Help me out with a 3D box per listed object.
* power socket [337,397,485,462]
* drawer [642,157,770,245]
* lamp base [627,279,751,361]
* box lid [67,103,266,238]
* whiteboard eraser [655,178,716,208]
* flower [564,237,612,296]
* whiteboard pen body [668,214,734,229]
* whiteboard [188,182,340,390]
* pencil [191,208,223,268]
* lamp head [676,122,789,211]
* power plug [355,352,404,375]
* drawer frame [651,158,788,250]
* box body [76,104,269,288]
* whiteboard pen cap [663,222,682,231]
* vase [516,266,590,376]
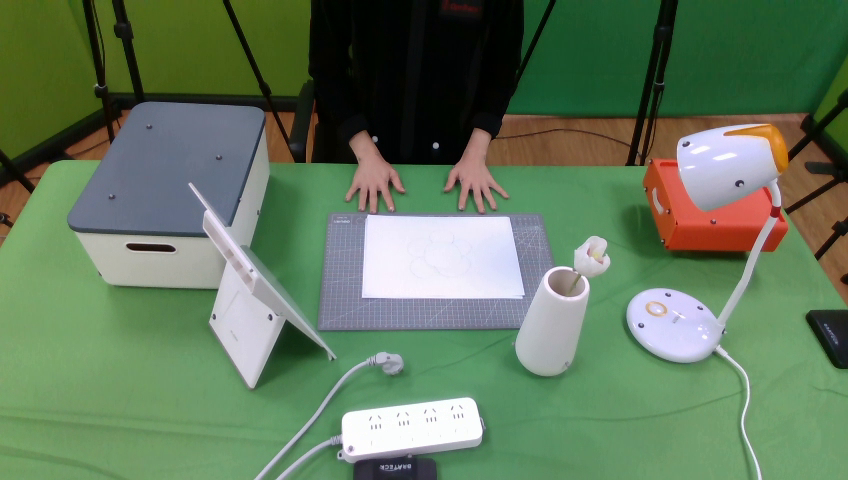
[{"bbox_3d":[-0.018,0.285,0.915,0.227,0.033,0.071,-5,46,-8],"label":"power socket"},{"bbox_3d":[0.564,-0.075,1.210,0.212,0.073,0.193,3,45,-1],"label":"drawer"},{"bbox_3d":[0.459,0.100,1.027,0.178,0.181,0.160,27,51,17],"label":"lamp base"},{"bbox_3d":[-0.447,-0.137,1.094,0.263,0.015,0.369,2,45,-2],"label":"box lid"},{"bbox_3d":[0.538,-0.095,1.250,0.113,0.042,0.055,4,52,-10],"label":"whiteboard eraser"},{"bbox_3d":[0.206,0.088,0.893,0.038,0.363,0.044,-17,67,-9],"label":"flower"},{"bbox_3d":[0.547,-0.035,1.200,0.141,0.017,0.017,-8,48,-9],"label":"whiteboard pen body"},{"bbox_3d":[-0.292,0.096,0.929,0.144,0.307,0.216,-38,57,-10],"label":"whiteboard"},{"bbox_3d":[-0.421,-0.009,1.186,0.012,0.012,0.193,3,37,-2],"label":"pencil"},{"bbox_3d":[0.423,-0.104,0.819,0.122,0.113,0.112,-13,33,40],"label":"lamp head"},{"bbox_3d":[-0.068,0.202,0.989,0.072,0.053,0.035,-4,47,21],"label":"power plug"},{"bbox_3d":[0.571,-0.074,1.213,0.214,0.083,0.200,1,46,0],"label":"drawer frame"},{"bbox_3d":[-0.450,-0.087,1.149,0.254,0.161,0.361,2,46,-2],"label":"box body"},{"bbox_3d":[0.487,-0.027,1.188,0.033,0.018,0.018,-1,46,-13],"label":"whiteboard pen cap"},{"bbox_3d":[0.208,0.132,0.965,0.098,0.201,0.097,3,46,-3],"label":"vase"}]
